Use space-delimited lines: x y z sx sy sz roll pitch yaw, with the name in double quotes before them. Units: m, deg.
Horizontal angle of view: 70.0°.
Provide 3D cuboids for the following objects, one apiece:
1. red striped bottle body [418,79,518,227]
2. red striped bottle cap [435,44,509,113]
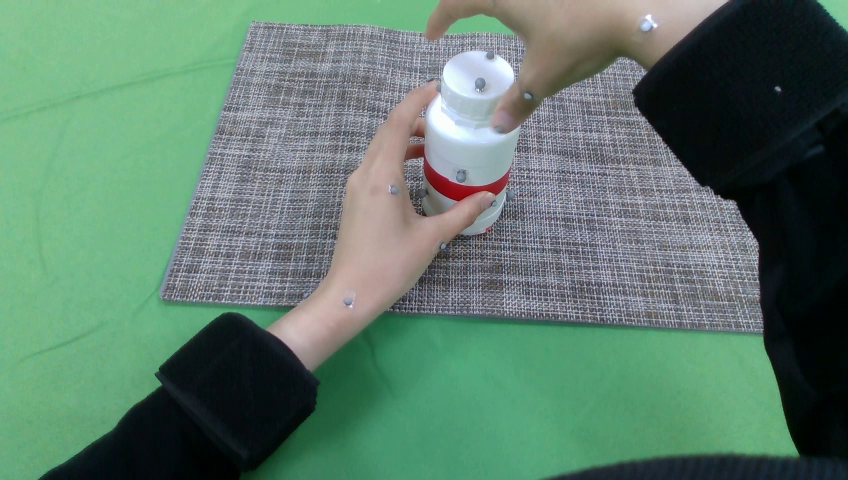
"red striped bottle body" 0.028 -0.067 0.412 0.063 0.120 0.062 1 56 -1
"red striped bottle cap" 0.029 -0.098 0.366 0.044 0.018 0.044 2 57 -3
